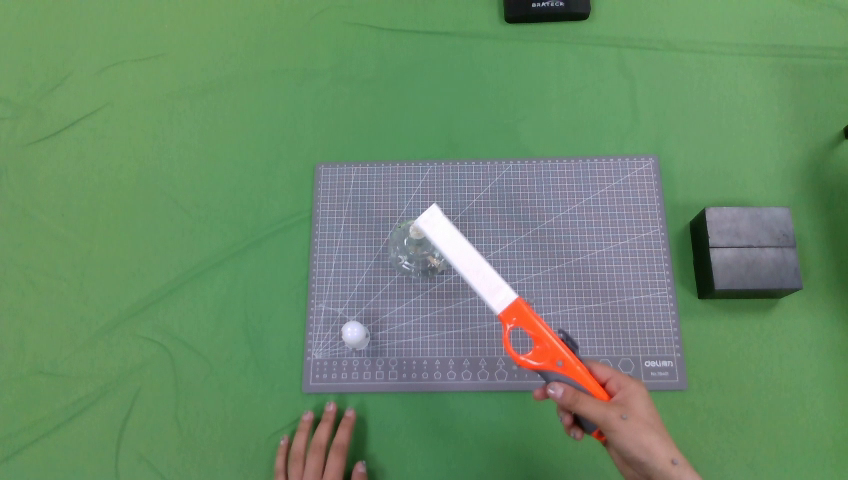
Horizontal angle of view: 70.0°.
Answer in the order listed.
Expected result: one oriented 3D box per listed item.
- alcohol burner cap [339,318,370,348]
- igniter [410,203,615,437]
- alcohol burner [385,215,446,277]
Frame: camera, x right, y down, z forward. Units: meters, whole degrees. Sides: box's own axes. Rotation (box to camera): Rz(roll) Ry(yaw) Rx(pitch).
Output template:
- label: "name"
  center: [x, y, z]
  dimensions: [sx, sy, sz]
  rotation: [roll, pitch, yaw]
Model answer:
- label: "alcohol burner cap"
  center: [-0.084, 0.109, 0.714]
  dimensions: [0.034, 0.048, 0.033]
  rotation: [-1, 73, 5]
- label: "igniter"
  center: [0.086, 0.073, 0.592]
  dimensions: [0.057, 0.025, 0.275]
  rotation: [-42, 78, 3]
- label: "alcohol burner"
  center: [-0.007, 0.001, 0.707]
  dimensions: [0.078, 0.120, 0.077]
  rotation: [0, 71, 0]
